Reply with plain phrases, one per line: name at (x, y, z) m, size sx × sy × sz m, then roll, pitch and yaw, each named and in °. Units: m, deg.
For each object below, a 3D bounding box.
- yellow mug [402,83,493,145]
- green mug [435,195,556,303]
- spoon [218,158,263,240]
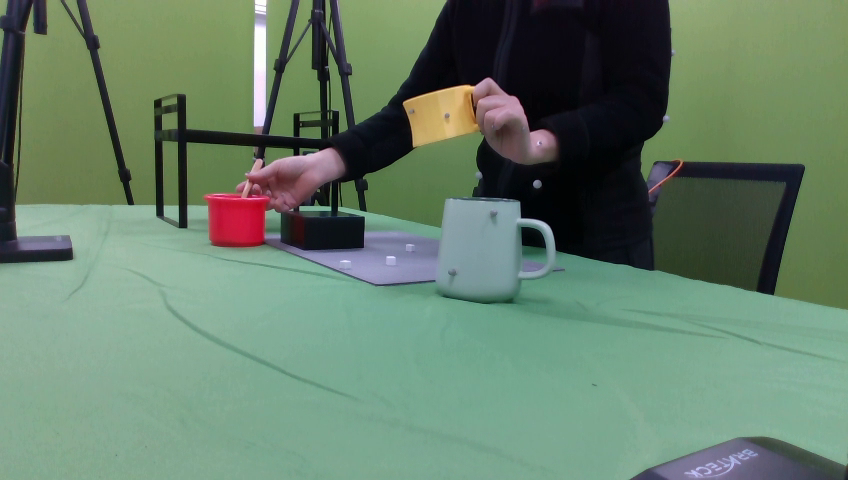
yellow mug at (0.037, -0.179, 0.846) m, size 0.130 × 0.064 × 0.100 m, roll -8°, pitch 11°, yaw 33°
green mug at (0.074, 0.009, 0.624) m, size 0.125 × 0.105 × 0.093 m, roll 5°, pitch 7°, yaw 23°
spoon at (-0.287, -0.070, 0.974) m, size 0.041 × 0.021 × 0.193 m, roll 4°, pitch 51°, yaw 3°
